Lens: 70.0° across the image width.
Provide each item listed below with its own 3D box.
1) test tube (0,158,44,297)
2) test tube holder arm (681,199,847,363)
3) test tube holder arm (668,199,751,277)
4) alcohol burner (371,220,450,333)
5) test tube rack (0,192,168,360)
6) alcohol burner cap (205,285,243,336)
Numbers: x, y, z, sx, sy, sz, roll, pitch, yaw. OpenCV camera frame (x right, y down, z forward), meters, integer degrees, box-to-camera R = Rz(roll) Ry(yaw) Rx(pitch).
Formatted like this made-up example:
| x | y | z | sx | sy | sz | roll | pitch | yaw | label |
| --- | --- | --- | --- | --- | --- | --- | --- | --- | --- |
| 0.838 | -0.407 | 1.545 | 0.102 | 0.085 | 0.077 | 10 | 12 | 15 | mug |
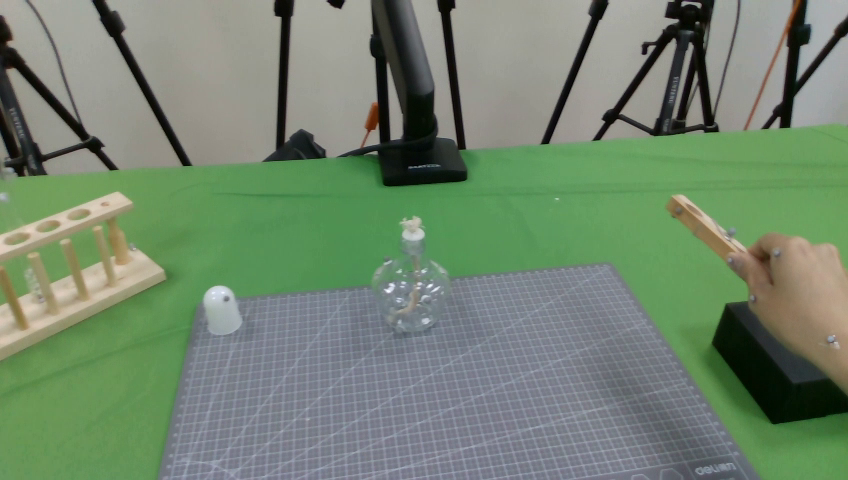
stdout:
| x | y | z | sx | sy | sz | roll | pitch | yaw | label |
| --- | --- | --- | --- | --- | --- | --- | --- | --- | --- |
| -0.384 | -0.011 | 0.571 | 0.017 | 0.151 | 0.017 | 0 | 29 | 1 | test tube |
| 0.261 | 0.025 | 0.475 | 0.013 | 0.015 | 0.176 | -13 | 46 | -25 | test tube holder arm |
| 0.236 | -0.003 | 0.501 | 0.010 | 0.015 | 0.087 | -13 | 46 | -24 | test tube holder arm |
| -0.013 | 0.030 | 0.577 | 0.078 | 0.120 | 0.077 | 2 | 36 | -1 | alcohol burner |
| -0.383 | 0.045 | 0.578 | 0.066 | 0.086 | 0.242 | 27 | 42 | 33 | test tube rack |
| -0.195 | 0.065 | 0.585 | 0.034 | 0.048 | 0.033 | 1 | 35 | -1 | alcohol burner cap |
